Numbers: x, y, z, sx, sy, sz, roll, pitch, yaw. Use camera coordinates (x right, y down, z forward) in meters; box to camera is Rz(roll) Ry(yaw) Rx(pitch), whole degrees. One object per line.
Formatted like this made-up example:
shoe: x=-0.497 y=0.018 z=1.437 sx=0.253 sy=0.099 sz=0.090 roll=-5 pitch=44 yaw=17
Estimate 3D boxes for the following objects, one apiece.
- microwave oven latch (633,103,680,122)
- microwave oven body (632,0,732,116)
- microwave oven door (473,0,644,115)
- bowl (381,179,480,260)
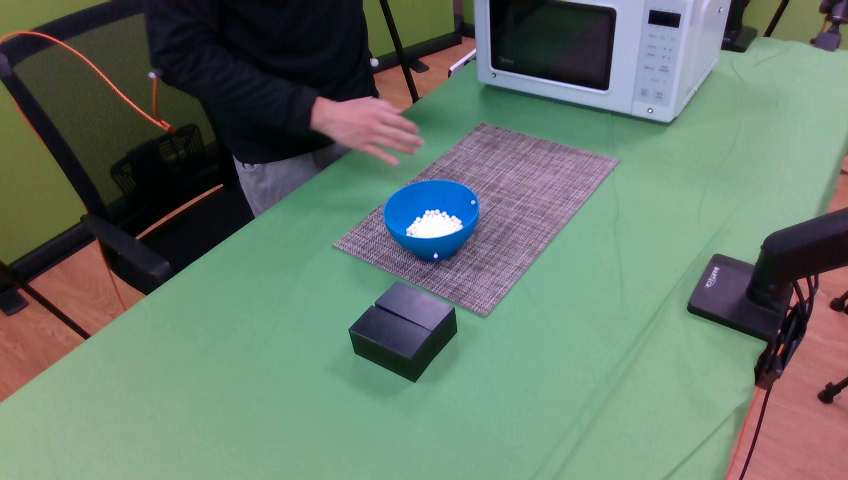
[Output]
microwave oven latch: x=0.443 y=-0.249 z=1.157 sx=0.078 sy=0.029 sz=0.030 roll=21 pitch=48 yaw=30
microwave oven body: x=0.377 y=-0.462 z=1.267 sx=0.438 sy=0.261 sz=0.327 roll=21 pitch=48 yaw=30
microwave oven door: x=0.257 y=-0.396 z=1.199 sx=0.353 sy=0.245 sz=0.039 roll=21 pitch=48 yaw=29
bowl: x=0.014 y=-0.021 z=0.942 sx=0.151 sy=0.077 sz=0.150 roll=-4 pitch=40 yaw=4
